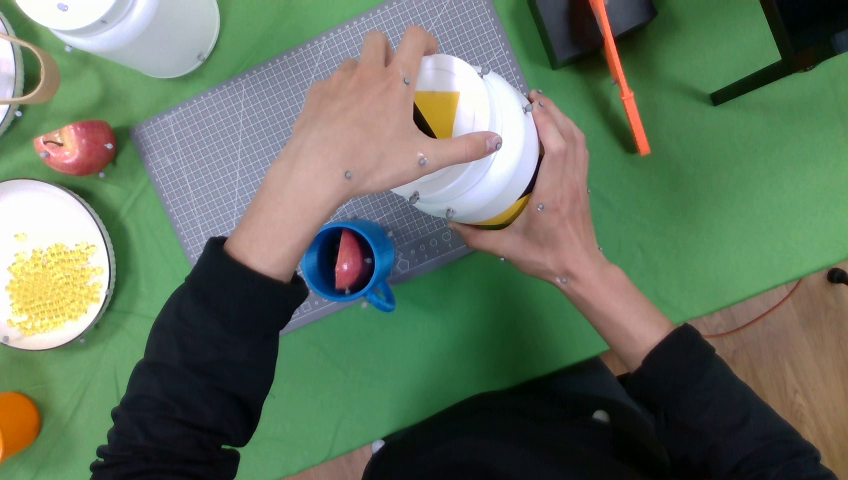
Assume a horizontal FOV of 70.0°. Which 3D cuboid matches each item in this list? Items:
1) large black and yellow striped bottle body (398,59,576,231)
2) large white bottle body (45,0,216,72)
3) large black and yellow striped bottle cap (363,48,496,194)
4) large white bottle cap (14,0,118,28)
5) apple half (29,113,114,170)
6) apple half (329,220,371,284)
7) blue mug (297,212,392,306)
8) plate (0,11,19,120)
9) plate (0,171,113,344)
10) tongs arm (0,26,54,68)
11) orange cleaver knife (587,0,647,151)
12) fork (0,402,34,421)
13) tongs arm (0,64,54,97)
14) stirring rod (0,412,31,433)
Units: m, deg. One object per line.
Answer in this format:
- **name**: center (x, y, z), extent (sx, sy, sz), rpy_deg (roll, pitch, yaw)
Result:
- **large black and yellow striped bottle body**: center (0.047, -0.082, 0.546), extent (0.130, 0.185, 0.130), rpy_deg (-5, 81, 32)
- **large white bottle body**: center (-0.311, -0.255, 0.620), extent (0.130, 0.184, 0.130), rpy_deg (0, 94, 5)
- **large black and yellow striped bottle cap**: center (0.002, -0.093, 0.476), extent (0.114, 0.019, 0.114), rpy_deg (-5, 81, 31)
- **large white bottle cap**: center (-0.320, -0.248, 0.536), extent (0.115, 0.018, 0.115), rpy_deg (0, 95, 5)
- **apple half**: center (-0.398, -0.109, 0.697), extent (0.081, 0.074, 0.053), rpy_deg (-20, 97, 2)
- **apple half**: center (-0.074, 0.014, 0.659), extent (0.032, 0.081, 0.081), rpy_deg (9, 96, 12)
- **blue mug**: center (-0.074, 0.025, 0.666), extent (0.082, 0.106, 0.116), rpy_deg (-39, 92, 7)
- **plate**: center (-0.576, -0.211, 0.718), extent (0.207, 0.039, 0.208), rpy_deg (0, 96, 4)
- **plate**: center (-0.472, 0.020, 0.733), extent (0.209, 0.038, 0.209), rpy_deg (0, 96, 5)
- **tongs arm**: center (-0.596, -0.268, 0.684), extent (0.387, 0.028, 0.028), rpy_deg (19, 90, 4)
- **orange cleaver knife**: center (0.197, -0.193, 0.638), extent (0.012, 0.076, 0.213), rpy_deg (-21, 120, 15)
- **fork**: center (-0.577, 0.227, 0.704), extent (0.208, 0.018, 0.028), rpy_deg (-9, 94, -38)
- **tongs arm**: center (-0.610, -0.186, 0.691), extent (0.384, 0.026, 0.051), rpy_deg (5, 92, 6)
- **stirring rod**: center (-0.561, 0.242, 0.707), extent (0.177, 0.006, 0.014), rpy_deg (-18, 82, -34)
